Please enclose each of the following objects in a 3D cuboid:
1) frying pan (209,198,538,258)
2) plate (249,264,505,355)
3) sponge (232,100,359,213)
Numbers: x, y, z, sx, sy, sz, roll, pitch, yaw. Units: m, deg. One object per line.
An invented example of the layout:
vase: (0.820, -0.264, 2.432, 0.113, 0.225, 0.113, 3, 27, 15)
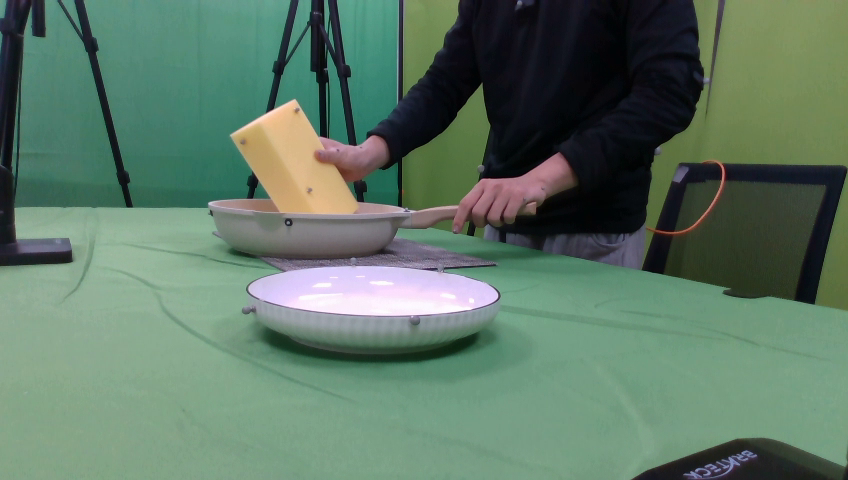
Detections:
frying pan: (-0.075, -0.033, 0.912, 0.487, 0.102, 0.307, -5, 7, 12)
plate: (-0.038, 0.056, 0.504, 0.208, 0.039, 0.207, 2, 7, 0)
sponge: (-0.199, -0.107, 0.970, 0.060, 0.207, 0.118, -19, 23, 26)
